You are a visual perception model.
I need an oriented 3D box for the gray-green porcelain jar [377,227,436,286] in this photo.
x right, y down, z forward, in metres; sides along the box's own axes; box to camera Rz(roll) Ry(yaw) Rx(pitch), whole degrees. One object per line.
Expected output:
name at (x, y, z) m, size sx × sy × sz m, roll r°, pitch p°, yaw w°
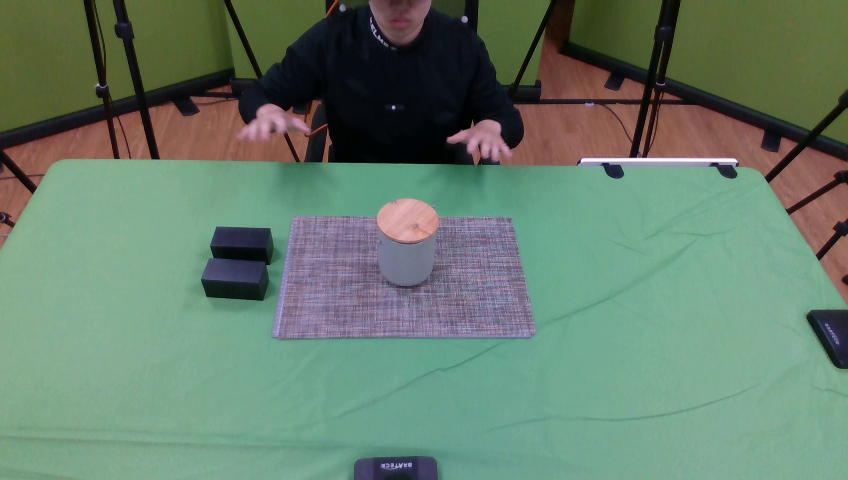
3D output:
gray-green porcelain jar at (-0.033, 0.014, 1.106) m, size 0.106 × 0.127 × 0.105 m, roll 2°, pitch 46°, yaw -2°

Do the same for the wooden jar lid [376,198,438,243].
wooden jar lid at (-0.029, -0.031, 1.059) m, size 0.108 × 0.021 × 0.107 m, roll 2°, pitch 45°, yaw -2°
